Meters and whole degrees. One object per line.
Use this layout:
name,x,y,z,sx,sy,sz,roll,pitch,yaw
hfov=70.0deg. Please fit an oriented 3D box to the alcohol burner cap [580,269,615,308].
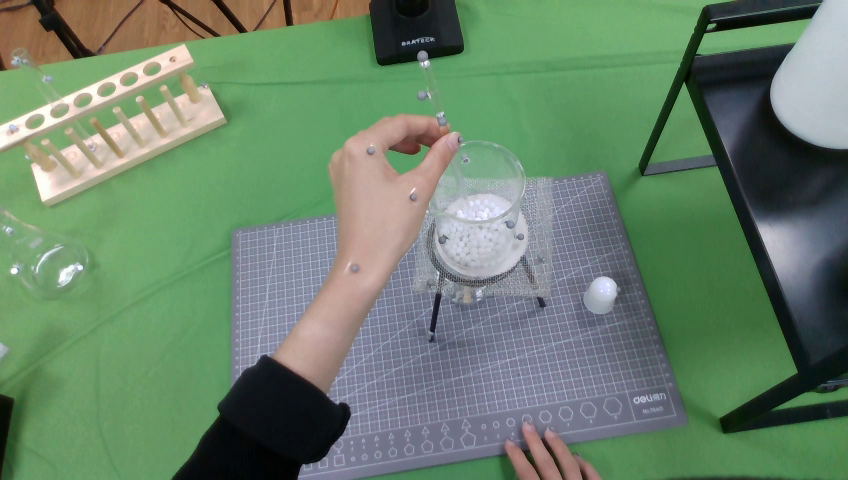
alcohol burner cap,0.184,0.048,0.635,0.034,0.048,0.033,-2,64,4

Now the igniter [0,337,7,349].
igniter,-0.496,0.209,0.564,0.057,0.025,0.275,17,66,22

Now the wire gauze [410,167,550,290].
wire gauze,0.053,-0.013,0.549,0.121,0.011,0.124,4,63,3

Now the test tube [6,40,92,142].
test tube,-0.431,-0.168,0.705,0.017,0.151,0.017,-2,58,3

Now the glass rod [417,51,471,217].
glass rod,0.018,-0.066,0.448,0.008,0.201,0.008,-5,63,10

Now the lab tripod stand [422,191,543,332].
lab tripod stand,0.052,0.022,0.606,0.148,0.132,0.147,-1,63,2

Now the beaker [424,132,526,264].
beaker,0.040,-0.028,0.503,0.084,0.101,0.073,-31,66,-10

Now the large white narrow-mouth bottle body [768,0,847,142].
large white narrow-mouth bottle body,0.341,-0.163,0.444,0.102,0.196,0.101,-2,64,5

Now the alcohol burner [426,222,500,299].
alcohol burner,0.040,0.015,0.621,0.078,0.120,0.077,-1,63,2

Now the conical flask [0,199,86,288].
conical flask,-0.437,-0.002,0.661,0.075,0.123,0.074,-2,64,4

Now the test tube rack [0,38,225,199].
test tube rack,-0.384,-0.150,0.748,0.242,0.086,0.066,-28,65,-9
